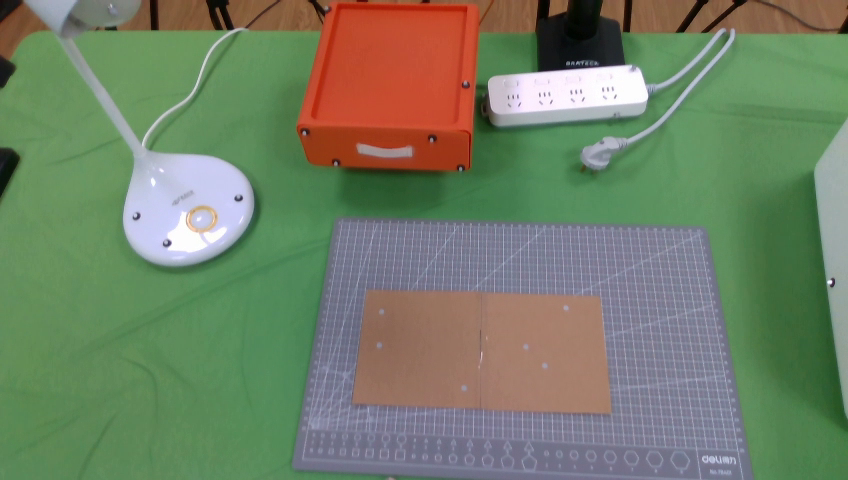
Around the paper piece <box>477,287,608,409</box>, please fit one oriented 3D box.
[{"bbox_3d":[0.126,0.114,0.655,0.135,0.004,0.134,2,60,5],"label":"paper piece"}]

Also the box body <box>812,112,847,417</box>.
[{"bbox_3d":[0.558,0.022,0.598,0.254,0.162,0.361,9,61,8],"label":"box body"}]

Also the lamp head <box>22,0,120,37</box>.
[{"bbox_3d":[-0.277,-0.229,0.444,0.124,0.112,0.112,42,64,-18],"label":"lamp head"}]

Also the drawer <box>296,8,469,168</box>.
[{"bbox_3d":[-0.038,-0.193,0.752,0.194,0.074,0.210,3,59,5],"label":"drawer"}]

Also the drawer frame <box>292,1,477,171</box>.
[{"bbox_3d":[-0.039,-0.195,0.753,0.201,0.083,0.211,2,59,5],"label":"drawer frame"}]

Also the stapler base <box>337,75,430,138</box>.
[{"bbox_3d":[-0.054,-0.173,0.762,0.129,0.024,0.041,30,82,21],"label":"stapler base"}]

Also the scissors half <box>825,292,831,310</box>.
[{"bbox_3d":[0.509,0.036,0.672,0.175,0.013,0.039,-24,64,-16],"label":"scissors half"}]

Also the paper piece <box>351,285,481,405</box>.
[{"bbox_3d":[-0.006,0.111,0.665,0.136,0.009,0.137,0,61,7],"label":"paper piece"}]

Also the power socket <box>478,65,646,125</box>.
[{"bbox_3d":[0.188,-0.197,0.822,0.227,0.033,0.071,-3,60,1],"label":"power socket"}]

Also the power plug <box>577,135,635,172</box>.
[{"bbox_3d":[0.229,-0.106,0.763,0.073,0.053,0.035,4,54,-17],"label":"power plug"}]

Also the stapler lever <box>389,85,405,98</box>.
[{"bbox_3d":[-0.063,-0.181,0.737,0.117,0.040,0.027,30,82,23],"label":"stapler lever"}]

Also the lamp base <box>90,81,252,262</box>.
[{"bbox_3d":[-0.310,-0.088,0.699,0.178,0.182,0.160,31,66,23],"label":"lamp base"}]
